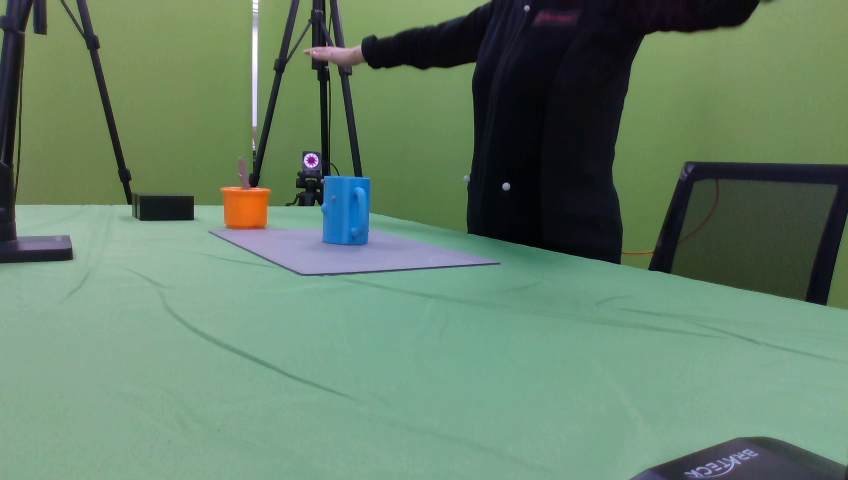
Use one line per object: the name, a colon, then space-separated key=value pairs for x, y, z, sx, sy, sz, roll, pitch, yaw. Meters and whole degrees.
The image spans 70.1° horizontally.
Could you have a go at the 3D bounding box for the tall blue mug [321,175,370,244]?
tall blue mug: x=-0.116 y=-0.049 z=0.991 sx=0.106 sy=0.108 sz=0.078 roll=7 pitch=8 yaw=33

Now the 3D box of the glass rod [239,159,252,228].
glass rod: x=-0.346 y=-0.093 z=1.170 sx=0.008 sy=0.008 sz=0.199 roll=-1 pitch=46 yaw=-23
